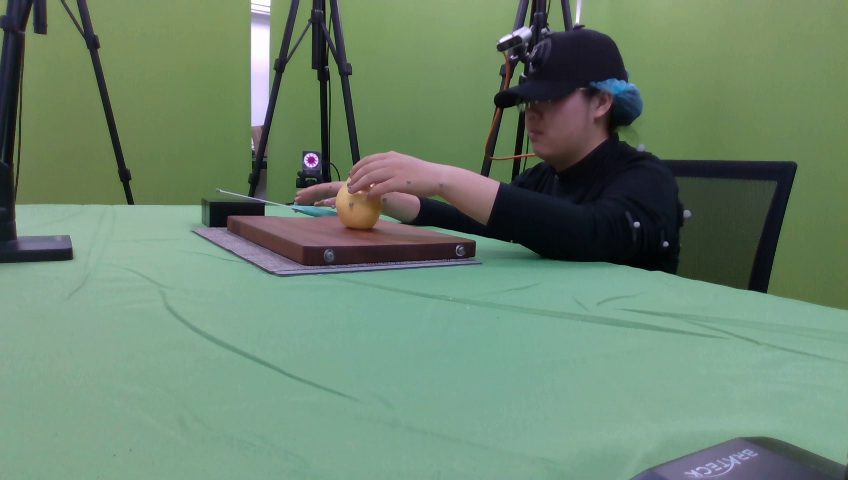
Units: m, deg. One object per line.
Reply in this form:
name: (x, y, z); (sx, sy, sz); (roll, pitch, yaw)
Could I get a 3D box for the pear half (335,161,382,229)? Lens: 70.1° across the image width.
pear half: (-0.099, -0.072, 0.974); (0.077, 0.110, 0.055); (-9, 13, -39)

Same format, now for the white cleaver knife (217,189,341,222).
white cleaver knife: (-0.275, -0.065, 1.233); (0.288, 0.021, 0.065); (11, 8, -29)

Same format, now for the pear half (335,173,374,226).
pear half: (-0.120, -0.067, 1.004); (0.071, 0.088, 0.031); (-13, 15, -38)
